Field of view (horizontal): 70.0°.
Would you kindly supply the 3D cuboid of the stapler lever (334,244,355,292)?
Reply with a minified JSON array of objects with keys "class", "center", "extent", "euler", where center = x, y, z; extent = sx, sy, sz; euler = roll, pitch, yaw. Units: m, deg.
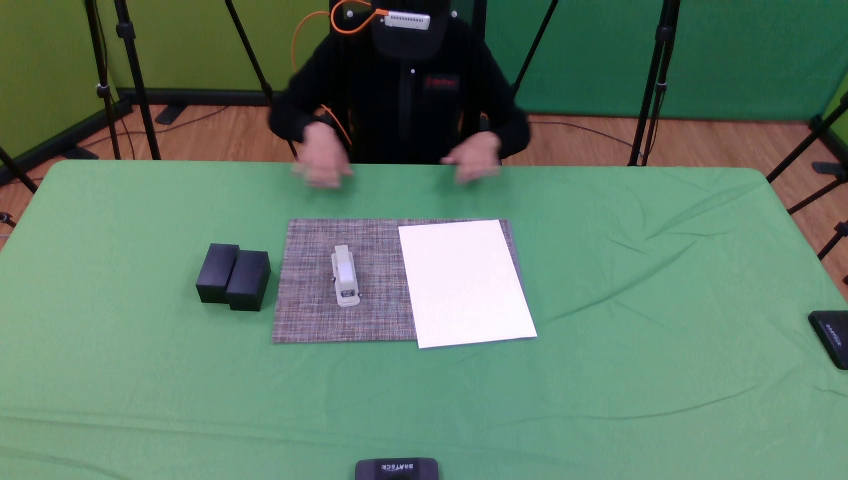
[{"class":"stapler lever","center":[-0.146,0.045,1.103],"extent":[0.027,0.040,0.117],"euler":[-4,45,-12]}]

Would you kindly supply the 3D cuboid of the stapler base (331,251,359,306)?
[{"class":"stapler base","center":[-0.147,0.064,1.119],"extent":[0.041,0.024,0.129],"euler":[-4,45,-13]}]
